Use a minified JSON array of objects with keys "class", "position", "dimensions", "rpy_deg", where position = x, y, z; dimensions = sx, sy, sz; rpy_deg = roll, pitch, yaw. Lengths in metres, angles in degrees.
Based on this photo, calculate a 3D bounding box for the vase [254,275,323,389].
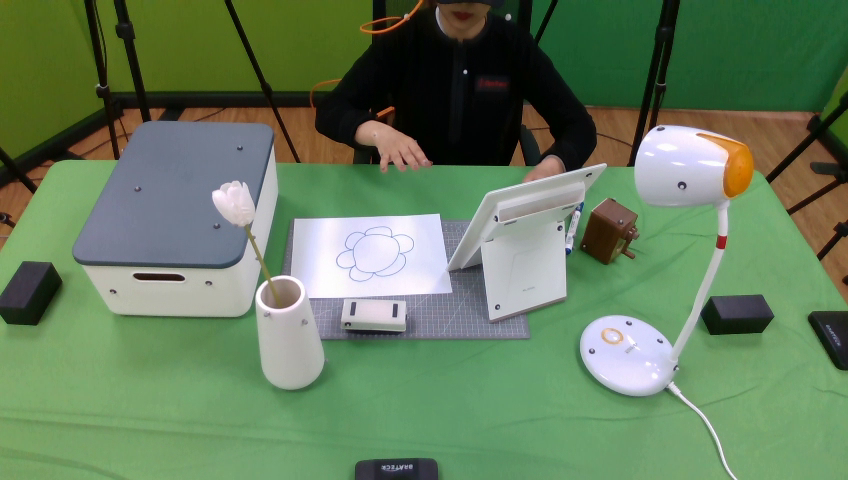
[{"class":"vase","position":[-0.209,0.143,0.921],"dimensions":[0.098,0.201,0.097],"rpy_deg":[1,46,-1]}]

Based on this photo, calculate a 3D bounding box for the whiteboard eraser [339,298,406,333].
[{"class":"whiteboard eraser","position":[-0.087,0.131,1.045],"dimensions":[0.113,0.042,0.055],"rpy_deg":[3,48,-2]}]

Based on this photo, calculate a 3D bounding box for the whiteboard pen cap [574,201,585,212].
[{"class":"whiteboard pen cap","position":[0.327,-0.069,1.278],"dimensions":[0.018,0.018,0.033],"rpy_deg":[18,52,13]}]

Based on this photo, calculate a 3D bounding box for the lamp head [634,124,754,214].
[{"class":"lamp head","position":[0.351,-0.089,0.776],"dimensions":[0.112,0.113,0.122],"rpy_deg":[-30,30,-28]}]

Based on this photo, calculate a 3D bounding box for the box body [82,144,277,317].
[{"class":"box body","position":[-0.421,-0.041,1.108],"dimensions":[0.254,0.161,0.361],"rpy_deg":[2,46,-3]}]

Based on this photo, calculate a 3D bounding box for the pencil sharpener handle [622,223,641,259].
[{"class":"pencil sharpener handle","position":[0.397,0.002,1.146],"dimensions":[0.030,0.068,0.036],"rpy_deg":[37,46,27]}]

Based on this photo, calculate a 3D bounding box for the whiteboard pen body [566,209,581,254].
[{"class":"whiteboard pen body","position":[0.307,-0.026,1.242],"dimensions":[0.017,0.017,0.140],"rpy_deg":[16,50,11]}]

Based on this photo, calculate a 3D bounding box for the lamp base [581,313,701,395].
[{"class":"lamp base","position":[0.361,0.144,0.973],"dimensions":[0.178,0.181,0.160],"rpy_deg":[34,53,23]}]

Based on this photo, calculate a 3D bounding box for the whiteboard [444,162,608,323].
[{"class":"whiteboard","position":[0.186,0.025,1.029],"dimensions":[0.217,0.306,0.143],"rpy_deg":[-14,68,-17]}]

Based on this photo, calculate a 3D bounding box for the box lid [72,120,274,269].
[{"class":"box lid","position":[-0.417,-0.094,1.056],"dimensions":[0.263,0.015,0.369],"rpy_deg":[1,47,-3]}]

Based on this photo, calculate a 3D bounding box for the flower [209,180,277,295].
[{"class":"flower","position":[-0.217,0.075,0.872],"dimensions":[0.044,0.363,0.038],"rpy_deg":[-28,36,-19]}]

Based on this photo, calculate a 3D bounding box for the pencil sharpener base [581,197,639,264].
[{"class":"pencil sharpener base","position":[0.362,-0.017,1.179],"dimensions":[0.076,0.107,0.061],"rpy_deg":[37,54,27]}]
